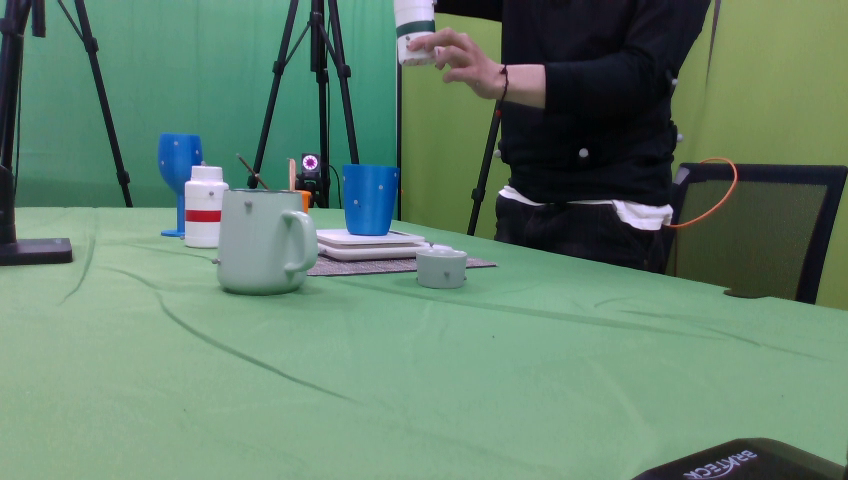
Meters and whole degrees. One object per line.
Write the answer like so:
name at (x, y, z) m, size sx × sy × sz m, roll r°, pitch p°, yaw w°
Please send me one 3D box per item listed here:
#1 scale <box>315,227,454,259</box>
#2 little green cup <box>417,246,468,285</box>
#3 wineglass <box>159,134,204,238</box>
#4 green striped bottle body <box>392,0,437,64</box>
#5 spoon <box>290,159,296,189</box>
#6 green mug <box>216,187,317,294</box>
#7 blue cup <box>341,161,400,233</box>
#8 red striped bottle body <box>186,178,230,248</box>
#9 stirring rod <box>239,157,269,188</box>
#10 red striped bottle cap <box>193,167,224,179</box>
scale at (-0.066, 0.001, 0.906) m, size 0.202 × 0.031 × 0.148 m, roll -2°, pitch 8°, yaw -31°
little green cup at (0.021, 0.029, 0.701) m, size 0.061 × 0.038 × 0.061 m, roll 1°, pitch 6°, yaw 0°
wineglass at (-0.415, -0.093, 1.040) m, size 0.074 × 0.172 × 0.073 m, roll 2°, pitch 7°, yaw 0°
green striped bottle body at (-0.016, -0.342, 0.946) m, size 0.063 × 0.119 × 0.063 m, roll -6°, pitch 6°, yaw 1°
spoon at (-0.273, -0.102, 1.252) m, size 0.042 × 0.193 × 0.021 m, roll 7°, pitch -39°, yaw -17°
green mug at (-0.157, 0.000, 0.629) m, size 0.124 × 0.105 × 0.093 m, roll 7°, pitch 9°, yaw 37°
blue cup at (-0.080, -0.062, 0.883) m, size 0.093 × 0.100 × 0.092 m, roll 3°, pitch 4°, yaw 0°
red striped bottle body at (-0.331, -0.050, 0.927) m, size 0.063 × 0.119 × 0.063 m, roll 2°, pitch 6°, yaw 0°
stirring rod at (-0.309, -0.098, 1.209) m, size 0.006 × 0.177 × 0.014 m, roll -39°, pitch 29°, yaw -3°
red striped bottle cap at (-0.329, -0.103, 0.921) m, size 0.044 × 0.017 × 0.044 m, roll 0°, pitch 9°, yaw 0°
